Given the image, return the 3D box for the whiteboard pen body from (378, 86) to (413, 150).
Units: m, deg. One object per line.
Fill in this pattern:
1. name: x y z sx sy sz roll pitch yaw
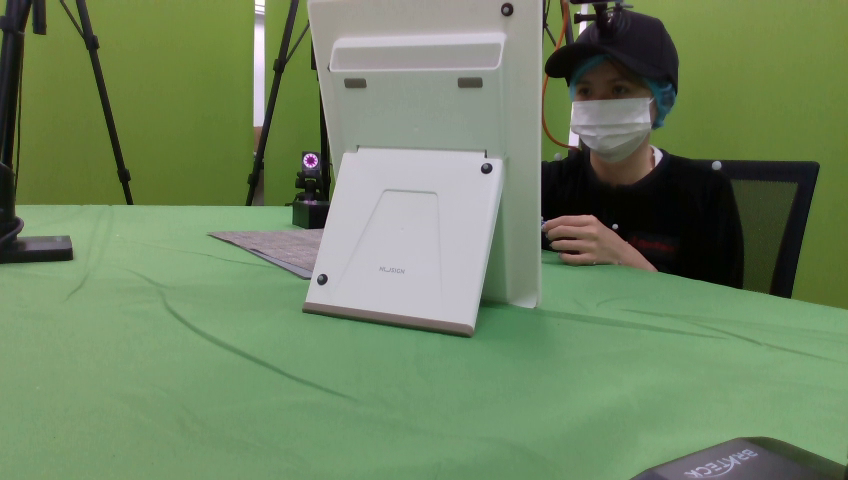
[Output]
1. whiteboard pen body: -0.032 -0.132 0.648 0.017 0.017 0.140 4 37 9

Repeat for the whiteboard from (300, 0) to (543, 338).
1. whiteboard: -0.020 -0.050 0.523 0.216 0.305 0.144 6 27 22

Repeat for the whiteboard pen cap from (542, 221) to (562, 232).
1. whiteboard pen cap: 0.193 -0.021 0.927 0.033 0.018 0.018 0 5 35
